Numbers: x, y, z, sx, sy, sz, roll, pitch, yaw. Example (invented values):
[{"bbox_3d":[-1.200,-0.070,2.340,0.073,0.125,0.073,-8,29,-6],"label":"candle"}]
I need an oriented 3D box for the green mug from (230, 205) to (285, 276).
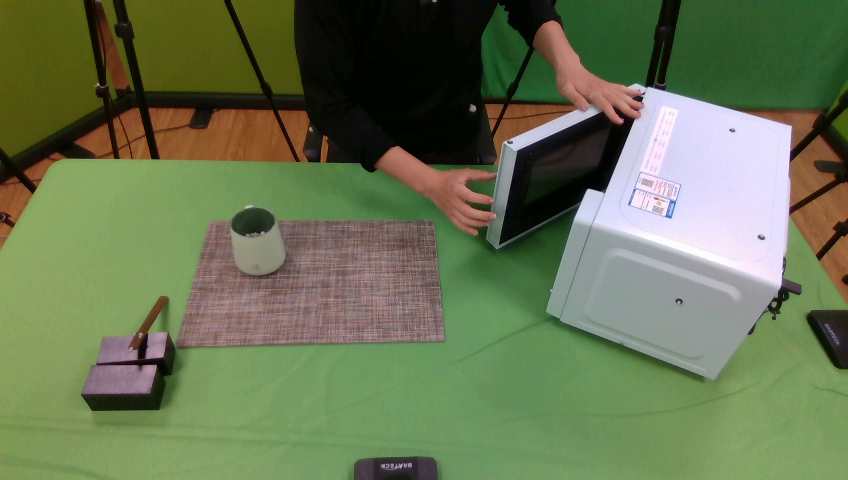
[{"bbox_3d":[-0.311,-0.008,1.118,0.092,0.105,0.124,-14,48,-16],"label":"green mug"}]

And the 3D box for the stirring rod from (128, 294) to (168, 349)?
[{"bbox_3d":[-0.451,0.131,0.996,0.014,0.006,0.175,9,21,-10],"label":"stirring rod"}]

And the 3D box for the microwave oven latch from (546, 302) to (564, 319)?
[{"bbox_3d":[0.242,0.102,1.081,0.030,0.029,0.079,22,48,17],"label":"microwave oven latch"}]

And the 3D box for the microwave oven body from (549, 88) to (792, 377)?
[{"bbox_3d":[0.456,-0.028,1.088,0.325,0.261,0.440,20,47,16],"label":"microwave oven body"}]

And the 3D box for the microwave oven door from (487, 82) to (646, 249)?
[{"bbox_3d":[0.280,-0.147,1.181,0.356,0.245,0.039,-27,52,-26],"label":"microwave oven door"}]
